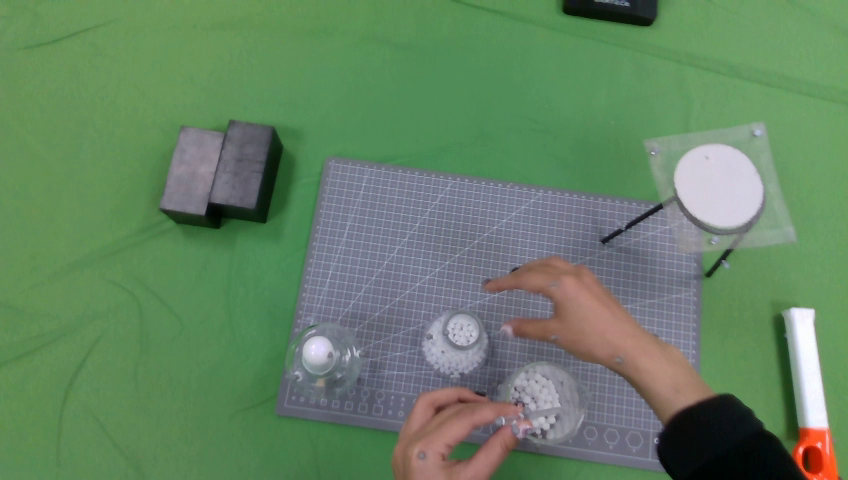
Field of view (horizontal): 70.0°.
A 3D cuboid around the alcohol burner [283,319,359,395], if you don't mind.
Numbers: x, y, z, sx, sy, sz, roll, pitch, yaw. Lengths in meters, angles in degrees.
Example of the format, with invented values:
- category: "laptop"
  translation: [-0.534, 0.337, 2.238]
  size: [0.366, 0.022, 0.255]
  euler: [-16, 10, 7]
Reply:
- category: "alcohol burner"
  translation: [-0.104, 0.115, 0.604]
  size: [0.078, 0.119, 0.077]
  euler: [1, 73, -3]

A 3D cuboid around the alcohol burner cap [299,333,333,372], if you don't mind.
- category: "alcohol burner cap"
  translation: [-0.102, 0.103, 0.570]
  size: [0.034, 0.048, 0.033]
  euler: [4, 67, -8]

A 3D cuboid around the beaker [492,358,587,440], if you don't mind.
- category: "beaker"
  translation: [0.111, 0.159, 0.608]
  size: [0.084, 0.100, 0.073]
  euler: [-10, 75, -5]

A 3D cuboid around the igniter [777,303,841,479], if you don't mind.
- category: "igniter"
  translation: [0.411, 0.205, 0.646]
  size: [0.057, 0.025, 0.275]
  euler: [5, 75, -12]

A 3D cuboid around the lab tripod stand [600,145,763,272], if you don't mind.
- category: "lab tripod stand"
  translation: [0.279, -0.032, 0.649]
  size: [0.148, 0.132, 0.147]
  euler: [1, 76, -2]

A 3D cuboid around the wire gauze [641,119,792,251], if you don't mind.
- category: "wire gauze"
  translation: [0.284, -0.053, 0.585]
  size: [0.125, 0.011, 0.121]
  euler: [-7, 77, -4]

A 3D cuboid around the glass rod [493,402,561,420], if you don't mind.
- category: "glass rod"
  translation: [0.089, 0.139, 0.495]
  size: [0.008, 0.201, 0.008]
  euler: [-5, 76, 23]

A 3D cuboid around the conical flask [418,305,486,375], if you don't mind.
- category: "conical flask"
  translation: [0.032, 0.095, 0.610]
  size: [0.075, 0.122, 0.075]
  euler: [1, 74, -2]
